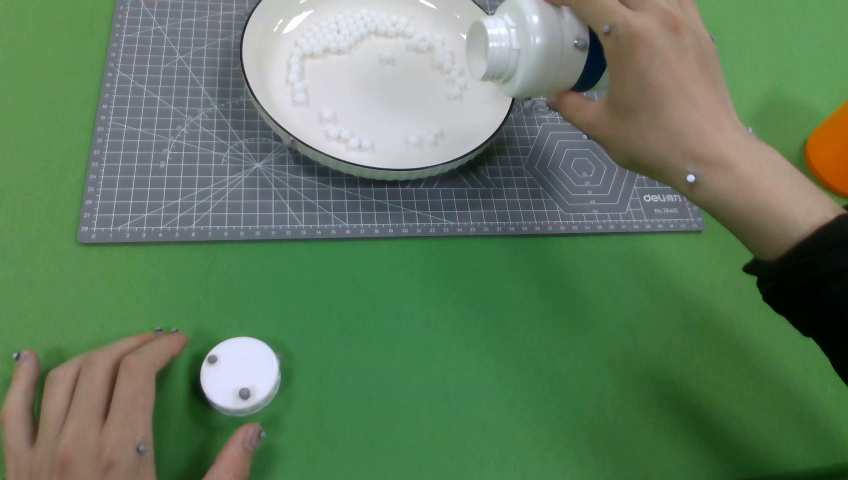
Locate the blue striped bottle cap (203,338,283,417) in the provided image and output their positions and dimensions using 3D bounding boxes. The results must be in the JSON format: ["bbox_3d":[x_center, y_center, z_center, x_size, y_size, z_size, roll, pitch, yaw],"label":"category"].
[{"bbox_3d":[-0.107,0.081,0.359,0.045,0.021,0.044,4,64,-8],"label":"blue striped bottle cap"}]

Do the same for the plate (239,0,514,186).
[{"bbox_3d":[-0.034,-0.125,0.468,0.208,0.039,0.206,5,61,-9],"label":"plate"}]

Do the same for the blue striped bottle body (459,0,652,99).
[{"bbox_3d":[0.086,-0.127,0.406,0.121,0.063,0.062,-7,63,-22],"label":"blue striped bottle body"}]
